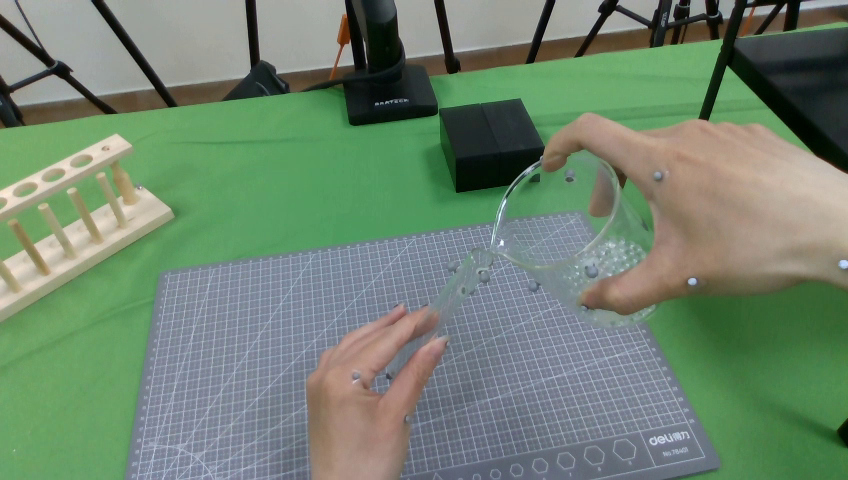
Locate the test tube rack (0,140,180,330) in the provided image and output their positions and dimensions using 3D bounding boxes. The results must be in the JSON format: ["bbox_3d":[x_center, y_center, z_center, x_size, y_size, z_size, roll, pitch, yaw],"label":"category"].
[{"bbox_3d":[-0.381,0.001,0.606,0.066,0.086,0.242,32,54,30],"label":"test tube rack"}]

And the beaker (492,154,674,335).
[{"bbox_3d":[0.099,0.010,0.363,0.084,0.101,0.073,-31,45,22],"label":"beaker"}]

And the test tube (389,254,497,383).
[{"bbox_3d":[0.008,0.059,0.413,0.017,0.151,0.017,16,46,-17],"label":"test tube"}]
